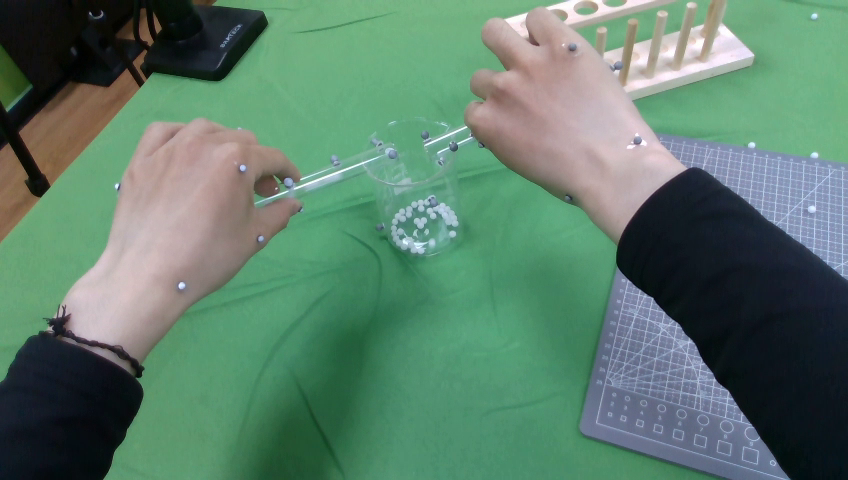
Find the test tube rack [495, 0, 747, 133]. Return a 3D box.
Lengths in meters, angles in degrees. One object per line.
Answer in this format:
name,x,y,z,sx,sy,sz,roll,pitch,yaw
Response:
test tube rack,0.195,-0.189,0.588,0.242,0.086,0.066,-17,53,-4

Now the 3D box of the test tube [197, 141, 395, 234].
test tube,-0.090,-0.039,0.436,0.150,0.017,0.017,-24,54,-14

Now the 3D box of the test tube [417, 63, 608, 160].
test tube,0.065,-0.095,0.447,0.150,0.017,0.017,-23,53,2

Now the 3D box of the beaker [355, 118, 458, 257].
beaker,-0.008,-0.040,0.501,0.084,0.101,0.073,-39,58,-20
